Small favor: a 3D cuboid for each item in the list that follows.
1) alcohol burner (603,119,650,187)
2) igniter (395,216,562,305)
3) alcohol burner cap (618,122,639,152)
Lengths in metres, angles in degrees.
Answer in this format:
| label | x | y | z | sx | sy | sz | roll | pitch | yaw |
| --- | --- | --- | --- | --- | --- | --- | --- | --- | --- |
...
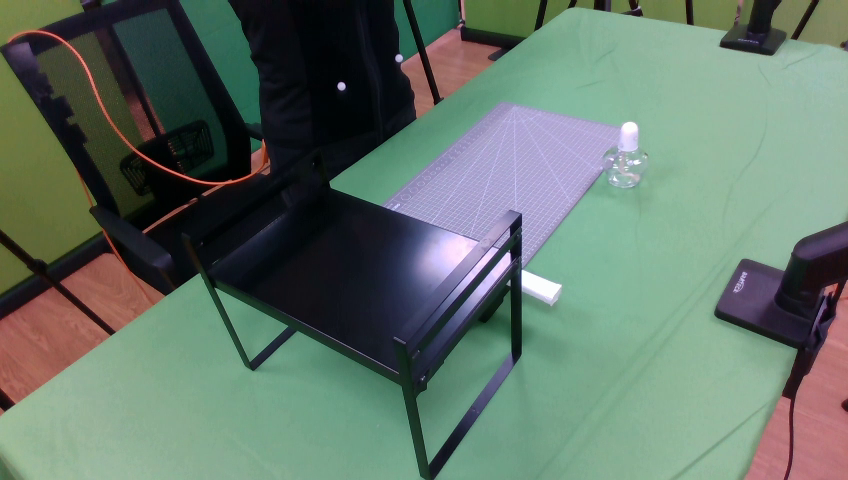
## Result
| label | x | y | z | sx | sy | sz | roll | pitch | yaw |
| --- | --- | --- | --- | --- | --- | --- | --- | --- | --- |
| alcohol burner | 0.347 | -0.151 | 1.030 | 0.078 | 0.119 | 0.077 | -4 | 39 | 4 |
| igniter | 0.066 | 0.023 | 0.863 | 0.274 | 0.025 | 0.057 | 24 | 48 | 28 |
| alcohol burner cap | 0.342 | -0.174 | 1.009 | 0.034 | 0.048 | 0.033 | -5 | 38 | 4 |
